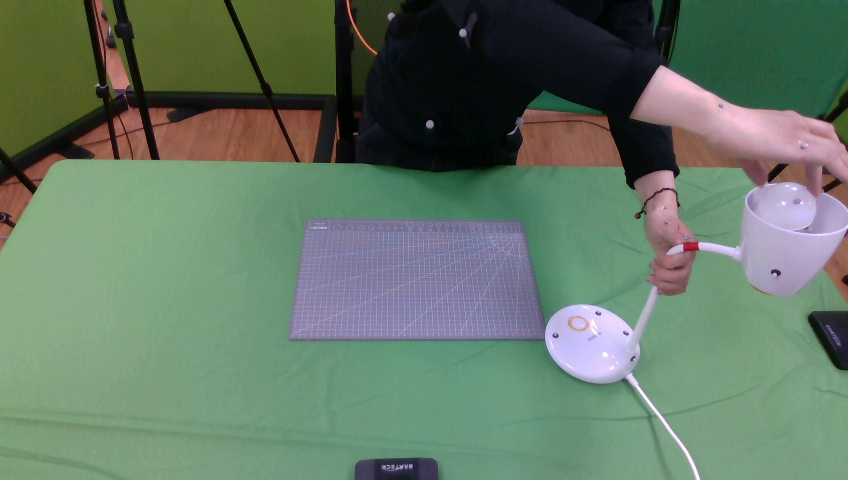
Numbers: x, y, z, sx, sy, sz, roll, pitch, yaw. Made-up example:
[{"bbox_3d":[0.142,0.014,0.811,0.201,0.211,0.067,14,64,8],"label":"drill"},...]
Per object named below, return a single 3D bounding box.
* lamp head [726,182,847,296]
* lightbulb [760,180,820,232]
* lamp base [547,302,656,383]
[{"bbox_3d":[0.429,0.006,0.726,0.112,0.123,0.111,1,39,0],"label":"lamp head"},{"bbox_3d":[0.425,-0.020,0.707,0.059,0.108,0.059,-12,35,9],"label":"lightbulb"},{"bbox_3d":[0.304,0.127,0.982,0.160,0.181,0.178,-33,59,-29],"label":"lamp base"}]
